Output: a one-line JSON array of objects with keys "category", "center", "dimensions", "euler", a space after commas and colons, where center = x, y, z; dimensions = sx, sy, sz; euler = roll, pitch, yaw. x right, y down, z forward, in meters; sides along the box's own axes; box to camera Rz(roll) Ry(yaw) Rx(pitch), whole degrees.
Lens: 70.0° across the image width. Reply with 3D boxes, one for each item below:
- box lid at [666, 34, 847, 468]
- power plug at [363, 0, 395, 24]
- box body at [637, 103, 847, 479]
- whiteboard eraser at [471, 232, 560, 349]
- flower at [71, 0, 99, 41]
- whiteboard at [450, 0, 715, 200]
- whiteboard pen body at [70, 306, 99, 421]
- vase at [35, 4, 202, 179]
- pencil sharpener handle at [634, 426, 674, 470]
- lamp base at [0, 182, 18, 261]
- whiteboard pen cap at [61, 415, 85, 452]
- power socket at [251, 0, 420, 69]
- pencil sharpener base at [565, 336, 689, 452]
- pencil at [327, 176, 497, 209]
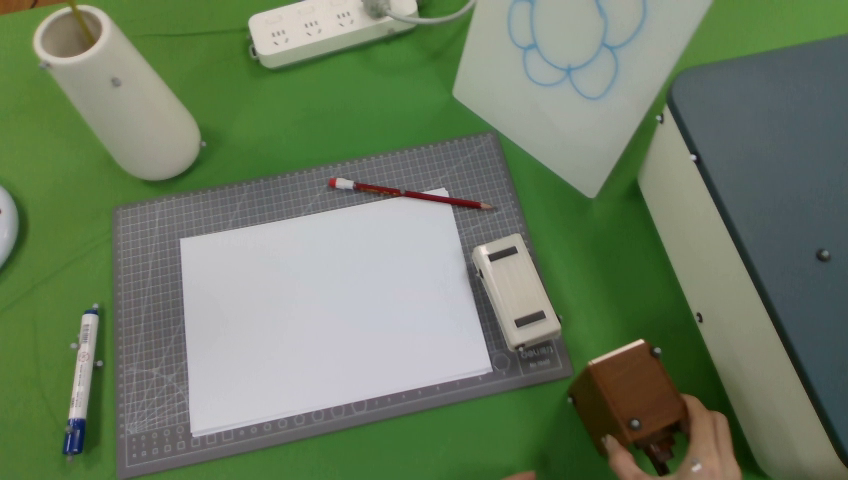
[{"category": "box lid", "center": [0.380, -0.018, 0.492], "dimensions": [0.263, 0.015, 0.368], "euler": [-13, 66, -4]}, {"category": "power plug", "center": [-0.055, -0.278, 0.745], "dimensions": [0.035, 0.053, 0.072], "euler": [-8, 68, -1]}, {"category": "box body", "center": [0.383, 0.015, 0.559], "dimensions": [0.254, 0.161, 0.361], "euler": [-13, 67, -4]}, {"category": "whiteboard eraser", "center": [0.092, 0.051, 0.615], "dimensions": [0.055, 0.042, 0.111], "euler": [-17, 67, -8]}, {"category": "flower", "center": [-0.311, -0.197, 0.563], "dimensions": [0.038, 0.365, 0.043], "euler": [-24, 49, -16]}, {"category": "whiteboard", "center": [0.184, -0.235, 0.630], "dimensions": [0.216, 0.307, 0.144], "euler": [42, 55, 18]}, {"category": "whiteboard pen body", "center": [-0.340, 0.133, 0.605], "dimensions": [0.017, 0.017, 0.139], "euler": [-8, 63, -1]}, {"category": "vase", "center": [-0.310, -0.146, 0.631], "dimensions": [0.098, 0.201, 0.097], "euler": [-1, 66, 3]}, {"category": "pencil sharpener handle", "center": [0.200, 0.178, 0.509], "dimensions": [0.036, 0.068, 0.030], "euler": [-28, 66, 8]}, {"category": "lamp base", "center": [-0.548, -0.043, 0.602], "dimensions": [0.178, 0.181, 0.160], "euler": [18, 67, 13]}, {"category": "whiteboard pen cap", "center": [-0.334, 0.184, 0.578], "dimensions": [0.018, 0.018, 0.033], "euler": [-8, 61, -1]}, {"category": "power socket", "center": [-0.112, -0.278, 0.773], "dimensions": [0.227, 0.033, 0.071], "euler": [-17, 68, -6]}, {"category": "pencil sharpener base", "center": [0.176, 0.143, 0.540], "dimensions": [0.061, 0.108, 0.076], "euler": [-21, 66, -8]}, {"category": "pencil", "center": [-0.014, -0.052, 0.682], "dimensions": [0.194, 0.012, 0.012], "euler": [10, 67, 4]}]
